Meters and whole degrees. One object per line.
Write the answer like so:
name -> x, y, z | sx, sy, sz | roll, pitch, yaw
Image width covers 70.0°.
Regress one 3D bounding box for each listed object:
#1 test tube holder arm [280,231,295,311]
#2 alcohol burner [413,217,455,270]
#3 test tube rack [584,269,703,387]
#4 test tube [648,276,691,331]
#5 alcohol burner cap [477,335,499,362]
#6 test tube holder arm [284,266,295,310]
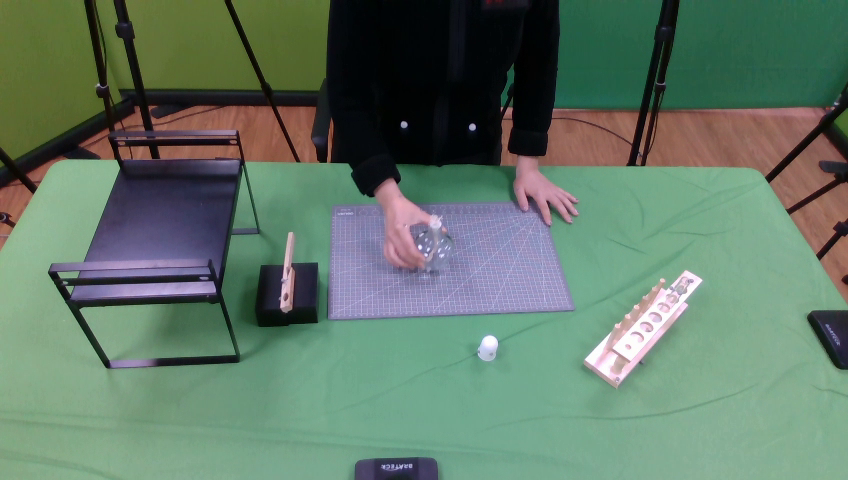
test tube holder arm -> -0.239, 0.051, 1.066 | 0.013, 0.015, 0.177 | -12, 46, 5
alcohol burner -> 0.019, -0.001, 1.103 | 0.078, 0.120, 0.077 | 1, 49, -1
test tube rack -> 0.381, 0.139, 1.046 | 0.066, 0.085, 0.242 | 37, 54, 27
test tube -> 0.406, 0.109, 1.007 | 0.017, 0.151, 0.017 | 3, 51, -4
alcohol burner cap -> 0.109, 0.179, 1.017 | 0.034, 0.048, 0.033 | 4, 50, -4
test tube holder arm -> -0.229, 0.081, 1.034 | 0.010, 0.015, 0.087 | -12, 46, 5
